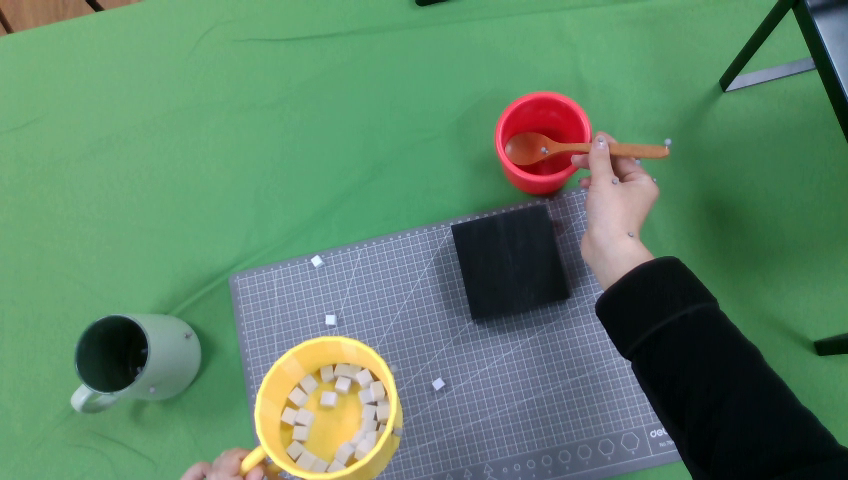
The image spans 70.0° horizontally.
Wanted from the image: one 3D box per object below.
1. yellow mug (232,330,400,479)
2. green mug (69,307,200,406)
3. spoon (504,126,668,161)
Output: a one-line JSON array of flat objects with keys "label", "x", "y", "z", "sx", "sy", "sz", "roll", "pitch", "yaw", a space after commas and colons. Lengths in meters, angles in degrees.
[{"label": "yellow mug", "x": -0.082, "y": 0.133, "z": 0.446, "sx": 0.131, "sy": 0.064, "sz": 0.099, "roll": -35, "pitch": 67, "yaw": -15}, {"label": "green mug", "x": -0.308, "y": 0.126, "z": 0.631, "sx": 0.092, "sy": 0.105, "sz": 0.125, "roll": 44, "pitch": 86, "yaw": 12}, {"label": "spoon", "x": 0.154, "y": -0.095, "z": 0.609, "sx": 0.192, "sy": 0.022, "sz": 0.041, "roll": 14, "pitch": 79, "yaw": 53}]
